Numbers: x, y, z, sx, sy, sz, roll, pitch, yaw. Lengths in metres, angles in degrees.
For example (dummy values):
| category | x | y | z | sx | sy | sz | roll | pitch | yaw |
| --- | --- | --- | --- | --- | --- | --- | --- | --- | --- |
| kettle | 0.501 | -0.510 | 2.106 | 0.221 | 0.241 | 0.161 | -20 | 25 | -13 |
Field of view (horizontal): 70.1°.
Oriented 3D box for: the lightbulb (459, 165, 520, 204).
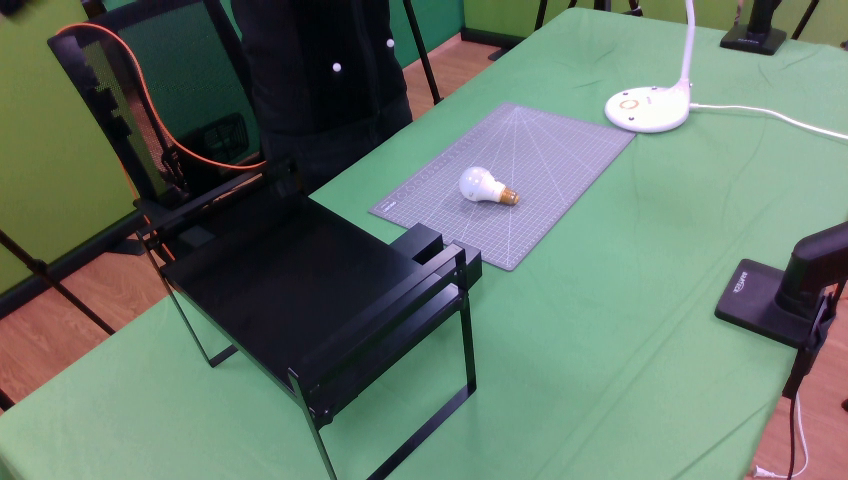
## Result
| category | x | y | z | sx | sy | sz | roll | pitch | yaw |
| --- | --- | --- | --- | --- | --- | --- | --- | --- | --- |
| lightbulb | 0.113 | -0.090 | 1.037 | 0.107 | 0.059 | 0.059 | 22 | 47 | 10 |

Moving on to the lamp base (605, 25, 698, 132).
| category | x | y | z | sx | sy | sz | roll | pitch | yaw |
| --- | --- | --- | --- | --- | --- | --- | --- | --- | --- |
| lamp base | 0.449 | -0.322 | 1.162 | 0.179 | 0.181 | 0.159 | -6 | 41 | -2 |
